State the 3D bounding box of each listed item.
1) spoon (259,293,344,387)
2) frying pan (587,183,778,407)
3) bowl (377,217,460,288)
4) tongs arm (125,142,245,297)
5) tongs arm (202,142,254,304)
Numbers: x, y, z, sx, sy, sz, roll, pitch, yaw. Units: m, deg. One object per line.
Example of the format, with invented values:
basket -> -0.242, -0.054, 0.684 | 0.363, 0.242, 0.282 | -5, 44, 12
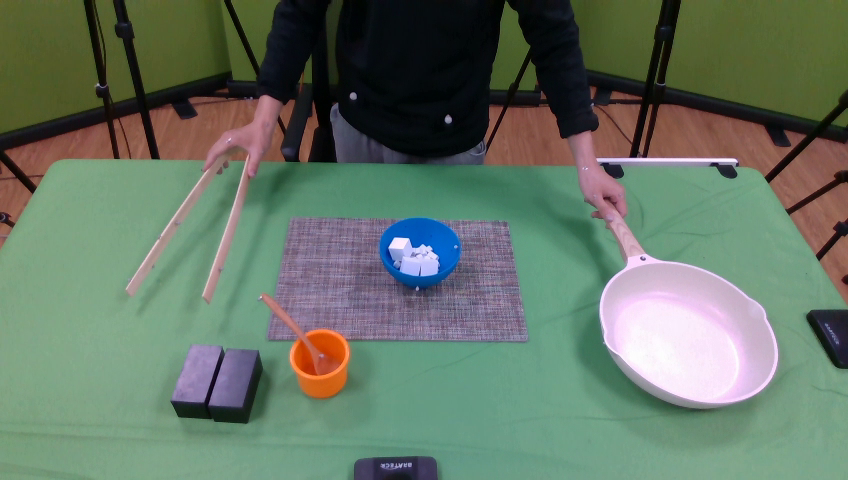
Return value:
spoon -> -0.191, 0.155, 0.947 | 0.021, 0.194, 0.041 | -12, 28, 51
frying pan -> 0.412, 0.079, 1.097 | 0.307, 0.103, 0.484 | -9, 56, -14
bowl -> -0.012, 0.036, 1.118 | 0.151, 0.077, 0.150 | 2, 46, -2
tongs arm -> -0.442, -0.052, 1.149 | 0.050, 0.027, 0.383 | 6, 52, 13
tongs arm -> -0.365, -0.046, 1.138 | 0.028, 0.028, 0.385 | -5, 50, 8
